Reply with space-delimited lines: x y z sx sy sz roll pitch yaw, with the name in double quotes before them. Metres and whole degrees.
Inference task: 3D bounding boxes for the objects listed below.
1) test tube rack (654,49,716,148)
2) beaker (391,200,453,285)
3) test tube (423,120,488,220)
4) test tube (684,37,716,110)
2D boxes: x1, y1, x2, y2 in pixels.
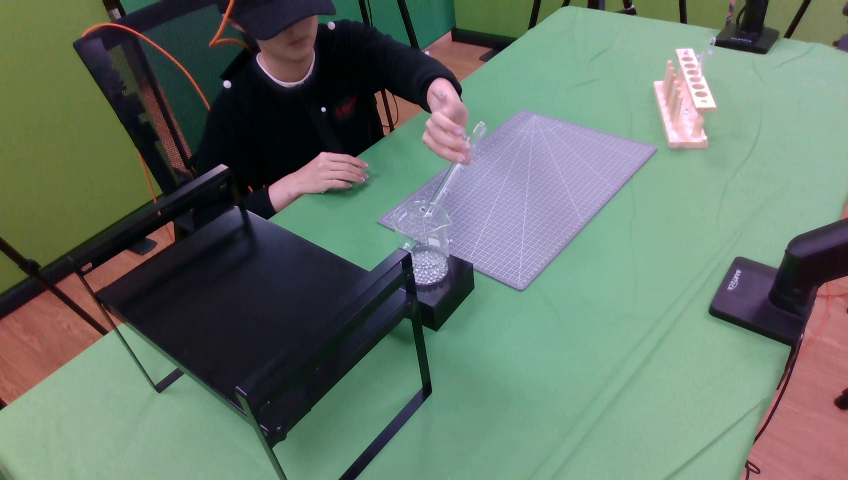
"test tube rack" 0.502 -0.281 1.176 0.066 0.085 0.241 2 41 11
"beaker" 0.002 0.006 0.831 0.084 0.101 0.074 5 42 14
"test tube" 0.041 -0.091 0.799 0.017 0.150 0.017 30 13 -7
"test tube" 0.513 -0.306 1.126 0.017 0.151 0.017 -1 48 1
